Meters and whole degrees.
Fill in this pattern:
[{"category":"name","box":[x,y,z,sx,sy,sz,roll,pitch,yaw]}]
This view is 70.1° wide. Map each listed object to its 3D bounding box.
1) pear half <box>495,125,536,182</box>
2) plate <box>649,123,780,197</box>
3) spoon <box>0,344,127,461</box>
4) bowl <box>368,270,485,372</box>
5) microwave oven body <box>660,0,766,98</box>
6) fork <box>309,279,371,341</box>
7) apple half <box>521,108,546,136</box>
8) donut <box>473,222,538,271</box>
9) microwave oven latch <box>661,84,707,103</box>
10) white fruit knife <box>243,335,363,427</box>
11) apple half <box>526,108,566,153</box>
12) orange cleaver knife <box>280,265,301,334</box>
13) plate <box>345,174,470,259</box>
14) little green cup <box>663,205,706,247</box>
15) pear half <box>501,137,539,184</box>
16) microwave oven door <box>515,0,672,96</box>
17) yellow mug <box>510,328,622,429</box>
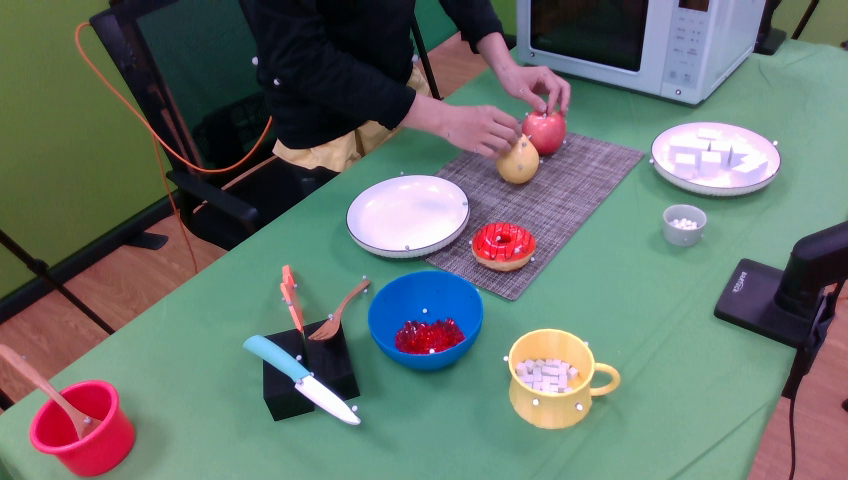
[{"category":"pear half","box":[0.159,-0.161,1.066,0.076,0.110,0.055,-17,44,-14]},{"category":"plate","box":[0.497,-0.135,1.046,0.207,0.039,0.206,-4,40,4]},{"category":"spoon","box":[-0.433,0.191,0.721,0.194,0.021,0.042,47,53,-6]},{"category":"bowl","box":[0.007,0.118,0.791,0.151,0.077,0.150,-5,40,4]},{"category":"microwave oven body","box":[0.472,-0.513,1.317,0.438,0.261,0.327,26,51,34]},{"category":"fork","box":[-0.109,0.093,0.832,0.028,0.018,0.207,-4,19,15]},{"category":"apple half","box":[0.202,-0.210,1.135,0.032,0.081,0.081,26,51,32]},{"category":"donut","box":[0.123,0.008,0.923,0.099,0.048,0.098,-3,38,3]},{"category":"microwave oven latch","box":[0.517,-0.296,1.204,0.078,0.029,0.030,27,52,35]},{"category":"white fruit knife","box":[-0.148,0.167,0.729,0.206,0.016,0.027,27,80,31]},{"category":"apple half","box":[0.232,-0.197,1.113,0.053,0.075,0.081,27,40,33]},{"category":"orange cleaver knife","box":[-0.188,0.081,0.862,0.012,0.077,0.210,-20,12,-9]},{"category":"plate","box":[-0.026,-0.036,1.004,0.209,0.038,0.208,-4,40,4]},{"category":"little green cup","box":[0.396,-0.021,0.926,0.061,0.039,0.061,-4,40,4]},{"category":"pear half","box":[0.171,-0.133,1.047,0.071,0.088,0.031,-17,42,-16]},{"category":"microwave oven door","box":[0.343,-0.455,1.259,0.353,0.245,0.039,26,51,33]},{"category":"yellow mug","box":[0.168,0.164,0.721,0.130,0.064,0.099,0,40,8]}]
